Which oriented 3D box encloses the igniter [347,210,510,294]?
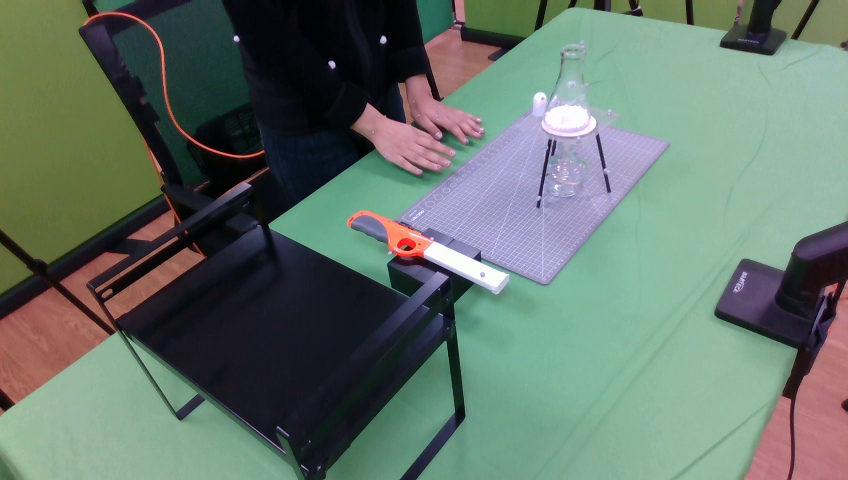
[{"bbox_3d":[-0.002,0.012,0.884,0.274,0.025,0.057,24,53,28],"label":"igniter"}]

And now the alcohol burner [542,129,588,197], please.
[{"bbox_3d":[0.239,-0.133,1.021,0.078,0.119,0.077,-4,38,4],"label":"alcohol burner"}]

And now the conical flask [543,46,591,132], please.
[{"bbox_3d":[0.224,-0.234,0.932,0.075,0.122,0.075,-3,41,3],"label":"conical flask"}]

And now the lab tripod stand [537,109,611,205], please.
[{"bbox_3d":[0.244,-0.141,1.014,0.148,0.132,0.147,-3,39,3],"label":"lab tripod stand"}]

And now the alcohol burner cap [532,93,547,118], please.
[{"bbox_3d":[0.240,-0.281,1.251,0.034,0.048,0.033,-4,42,4],"label":"alcohol burner cap"}]

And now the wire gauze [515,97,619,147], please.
[{"bbox_3d":[0.229,-0.189,0.970,0.120,0.011,0.125,25,51,34],"label":"wire gauze"}]
